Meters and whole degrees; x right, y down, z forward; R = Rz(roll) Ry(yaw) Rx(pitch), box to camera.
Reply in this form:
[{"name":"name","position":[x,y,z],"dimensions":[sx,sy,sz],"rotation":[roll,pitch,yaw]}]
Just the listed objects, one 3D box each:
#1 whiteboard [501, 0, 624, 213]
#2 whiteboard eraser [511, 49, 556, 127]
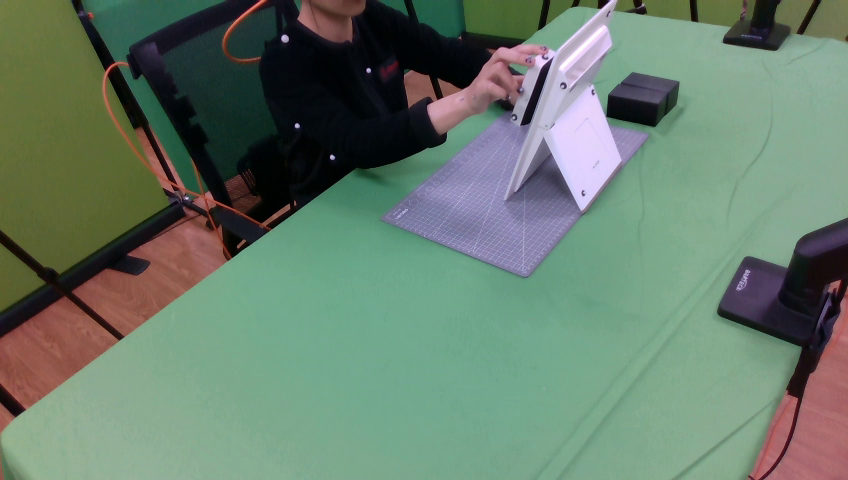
[{"name":"whiteboard","position":[0.271,-0.189,0.977],"dimensions":[0.143,0.306,0.218],"rotation":[34,54,16]},{"name":"whiteboard eraser","position":[0.171,-0.227,0.918],"dimensions":[0.041,0.113,0.056],"rotation":[32,51,14]}]
